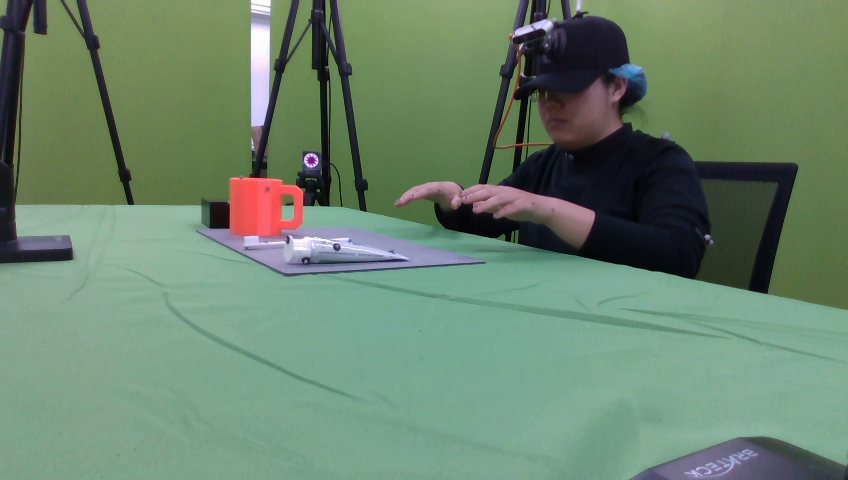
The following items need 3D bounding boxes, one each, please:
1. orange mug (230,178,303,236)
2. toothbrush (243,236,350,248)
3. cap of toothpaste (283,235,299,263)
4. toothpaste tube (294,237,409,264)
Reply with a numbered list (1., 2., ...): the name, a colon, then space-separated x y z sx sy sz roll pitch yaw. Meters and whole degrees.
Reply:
1. orange mug: -0.275 -0.060 1.058 0.126 0.101 0.083 -2 8 -5
2. toothbrush: -0.191 0.001 0.927 0.183 0.016 0.014 -2 -8 -41
3. cap of toothpaste: -0.168 0.012 0.764 0.011 0.037 0.037 3 5 -34
4. toothpaste tube: -0.101 0.016 0.807 0.166 0.034 0.055 3 12 -34
